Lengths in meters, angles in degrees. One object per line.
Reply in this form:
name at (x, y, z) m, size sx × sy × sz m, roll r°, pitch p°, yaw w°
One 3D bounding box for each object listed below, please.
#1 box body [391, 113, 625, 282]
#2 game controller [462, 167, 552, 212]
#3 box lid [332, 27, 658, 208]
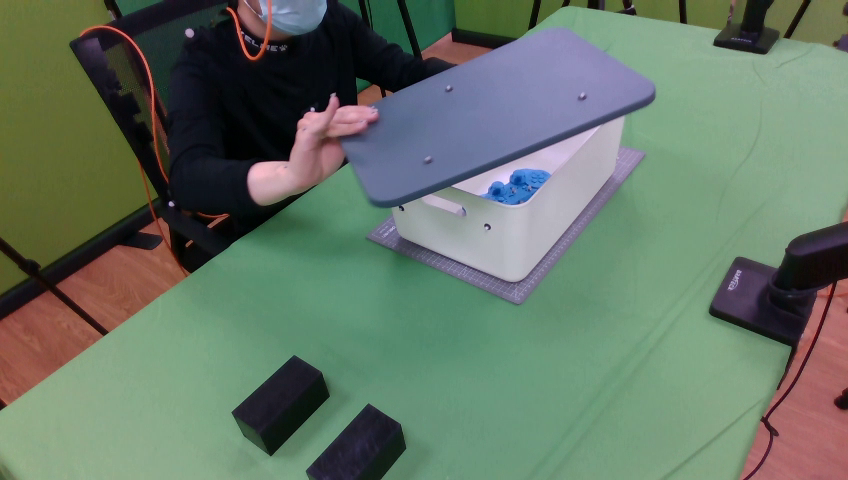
box body at (0.137, -0.121, 0.977) m, size 0.252 × 0.161 × 0.365 m, roll 22°, pitch 48°, yaw 30°
game controller at (0.147, -0.080, 1.007) m, size 0.156 × 0.052 × 0.096 m, roll -30°, pitch 50°, yaw -24°
box lid at (0.077, -0.173, 0.778) m, size 0.372 × 0.015 × 0.261 m, roll -23°, pitch 40°, yaw -7°
